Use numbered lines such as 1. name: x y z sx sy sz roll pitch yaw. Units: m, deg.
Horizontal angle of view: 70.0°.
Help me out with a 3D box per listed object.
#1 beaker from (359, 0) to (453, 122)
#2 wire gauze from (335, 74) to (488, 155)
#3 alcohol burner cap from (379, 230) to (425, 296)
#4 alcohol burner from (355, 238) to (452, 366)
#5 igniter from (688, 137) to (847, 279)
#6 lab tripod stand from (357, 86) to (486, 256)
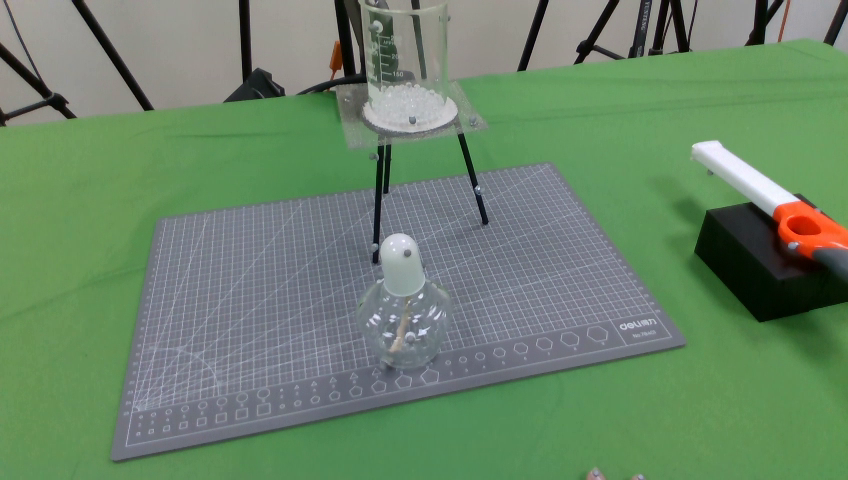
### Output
1. beaker: -0.018 -0.159 0.518 0.083 0.101 0.074 30 48 33
2. wire gauze: -0.016 -0.121 0.548 0.121 0.011 0.123 -9 42 -8
3. alcohol burner cap: -0.017 0.014 0.446 0.034 0.048 0.033 -3 43 3
4. alcohol burner: -0.016 0.042 0.469 0.078 0.120 0.077 0 41 1
5. igniter: 0.325 -0.023 0.534 0.057 0.025 0.273 -11 37 -9
6. lab tripod stand: -0.010 -0.072 0.592 0.148 0.132 0.147 0 38 0
